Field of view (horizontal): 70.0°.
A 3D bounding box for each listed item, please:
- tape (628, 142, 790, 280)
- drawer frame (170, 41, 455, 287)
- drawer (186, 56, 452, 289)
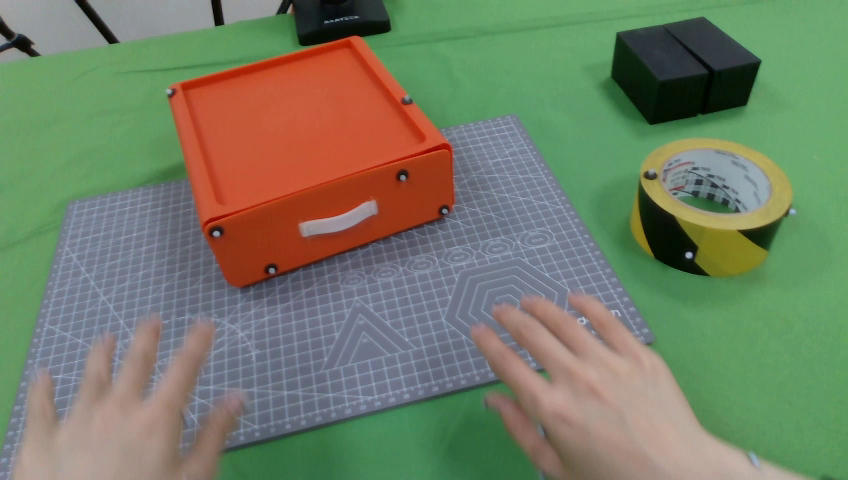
[{"bbox_3d":[0.225,-0.027,0.488,0.117,0.053,0.115,-2,45,3],"label":"tape"},{"bbox_3d":[-0.107,-0.080,0.548,0.202,0.083,0.211,-21,46,-14],"label":"drawer frame"},{"bbox_3d":[-0.105,-0.075,0.545,0.195,0.074,0.209,-20,46,-13],"label":"drawer"}]
